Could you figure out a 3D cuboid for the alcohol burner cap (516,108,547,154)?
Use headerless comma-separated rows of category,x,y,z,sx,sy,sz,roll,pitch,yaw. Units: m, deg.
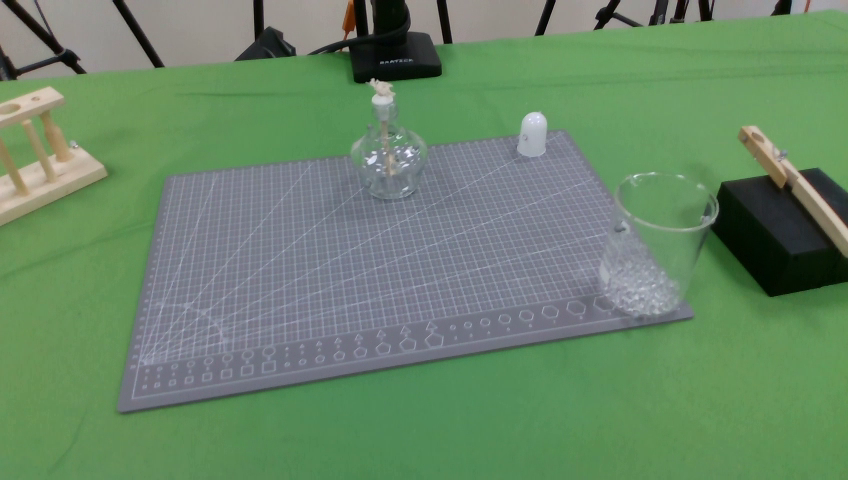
alcohol burner cap,0.119,-0.123,0.666,0.034,0.048,0.033,0,42,1

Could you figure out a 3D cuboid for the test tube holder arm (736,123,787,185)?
test tube holder arm,0.319,-0.082,0.569,0.010,0.015,0.087,-11,43,1

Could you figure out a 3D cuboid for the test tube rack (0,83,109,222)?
test tube rack,-0.446,-0.058,0.578,0.066,0.086,0.242,31,51,30

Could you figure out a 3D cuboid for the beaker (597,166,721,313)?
beaker,0.179,0.001,0.485,0.074,0.101,0.083,-14,43,-14

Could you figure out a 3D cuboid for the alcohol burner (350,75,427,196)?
alcohol burner,-0.036,-0.104,0.595,0.078,0.120,0.077,-2,41,2

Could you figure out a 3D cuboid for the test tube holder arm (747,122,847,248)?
test tube holder arm,0.330,-0.053,0.536,0.013,0.015,0.176,-11,43,1
